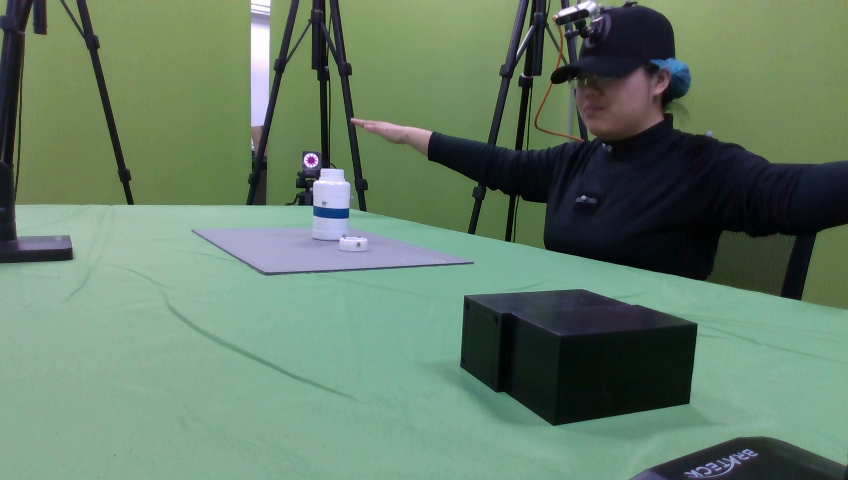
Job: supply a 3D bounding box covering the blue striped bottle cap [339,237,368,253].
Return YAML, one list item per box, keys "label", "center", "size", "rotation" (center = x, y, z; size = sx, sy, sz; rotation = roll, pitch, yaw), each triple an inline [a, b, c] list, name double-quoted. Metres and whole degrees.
- label: "blue striped bottle cap"
  center: [-0.107, 0.007, 0.920]
  size: [0.044, 0.020, 0.044]
  rotation: [1, 7, 0]

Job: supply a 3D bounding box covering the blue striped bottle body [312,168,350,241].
- label: "blue striped bottle body"
  center: [-0.157, -0.062, 1.025]
  size: [0.063, 0.120, 0.063]
  rotation: [3, 7, 0]
